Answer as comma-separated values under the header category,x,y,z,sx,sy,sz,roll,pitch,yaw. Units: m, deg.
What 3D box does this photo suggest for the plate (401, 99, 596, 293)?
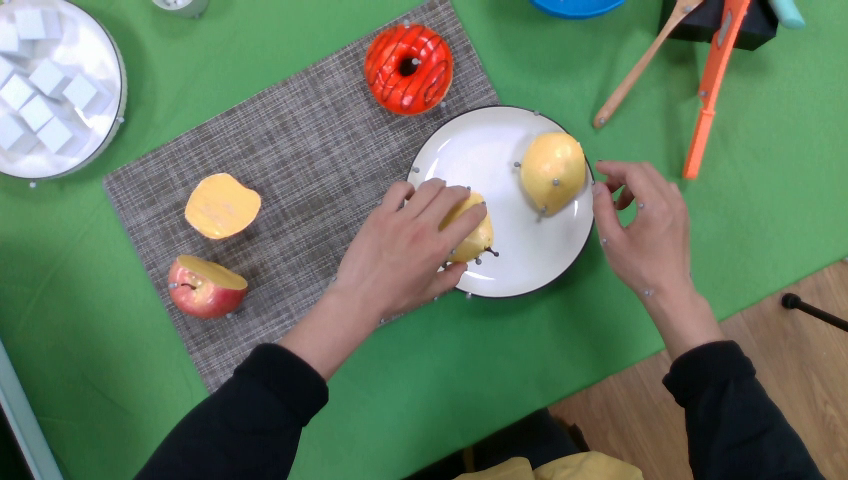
category,x,y,z,sx,sy,sz,roll,pitch,yaw
plate,0.080,-0.047,0.662,0.209,0.038,0.209,0,92,3

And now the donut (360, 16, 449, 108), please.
category,x,y,z,sx,sy,sz,roll,pitch,yaw
donut,-0.021,-0.193,0.660,0.099,0.048,0.099,0,93,6

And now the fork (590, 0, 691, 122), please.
category,x,y,z,sx,sy,sz,roll,pitch,yaw
fork,0.237,-0.211,0.626,0.028,0.018,0.208,31,114,-5

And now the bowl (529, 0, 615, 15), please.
category,x,y,z,sx,sy,sz,roll,pitch,yaw
bowl,0.153,-0.302,0.633,0.151,0.077,0.151,0,92,3

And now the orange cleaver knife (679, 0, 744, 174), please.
category,x,y,z,sx,sy,sz,roll,pitch,yaw
orange cleaver knife,0.296,-0.175,0.626,0.012,0.077,0.213,10,118,9

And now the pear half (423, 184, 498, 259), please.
category,x,y,z,sx,sy,sz,roll,pitch,yaw
pear half,0.035,-0.013,0.596,0.056,0.108,0.077,-7,113,-24

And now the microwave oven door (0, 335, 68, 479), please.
category,x,y,z,sx,sy,sz,roll,pitch,yaw
microwave oven door,-0.466,0.223,0.588,0.039,0.244,0.355,-25,90,4

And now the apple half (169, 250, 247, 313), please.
category,x,y,z,sx,sy,sz,roll,pitch,yaw
apple half,-0.241,0.051,0.668,0.081,0.074,0.053,27,97,-1

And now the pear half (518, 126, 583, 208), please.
category,x,y,z,sx,sy,sz,roll,pitch,yaw
pear half,0.130,-0.077,0.643,0.070,0.031,0.088,11,102,27

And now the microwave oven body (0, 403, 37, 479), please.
category,x,y,z,sx,sy,sz,roll,pitch,yaw
microwave oven body,-0.616,0.244,0.604,0.326,0.260,0.441,-25,91,3

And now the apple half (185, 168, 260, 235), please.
category,x,y,z,sx,sy,sz,roll,pitch,yaw
apple half,-0.225,-0.037,0.680,0.081,0.033,0.080,2,69,-5

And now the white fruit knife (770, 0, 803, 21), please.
category,x,y,z,sx,sy,sz,roll,pitch,yaw
white fruit knife,0.322,-0.310,0.604,0.027,0.016,0.207,-25,88,-25

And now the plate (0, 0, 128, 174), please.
category,x,y,z,sx,sy,sz,roll,pitch,yaw
plate,-0.436,-0.178,0.694,0.207,0.039,0.207,0,92,4

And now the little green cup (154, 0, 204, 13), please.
category,x,y,z,sx,sy,sz,roll,pitch,yaw
little green cup,-0.277,-0.287,0.680,0.061,0.038,0.061,0,91,4
